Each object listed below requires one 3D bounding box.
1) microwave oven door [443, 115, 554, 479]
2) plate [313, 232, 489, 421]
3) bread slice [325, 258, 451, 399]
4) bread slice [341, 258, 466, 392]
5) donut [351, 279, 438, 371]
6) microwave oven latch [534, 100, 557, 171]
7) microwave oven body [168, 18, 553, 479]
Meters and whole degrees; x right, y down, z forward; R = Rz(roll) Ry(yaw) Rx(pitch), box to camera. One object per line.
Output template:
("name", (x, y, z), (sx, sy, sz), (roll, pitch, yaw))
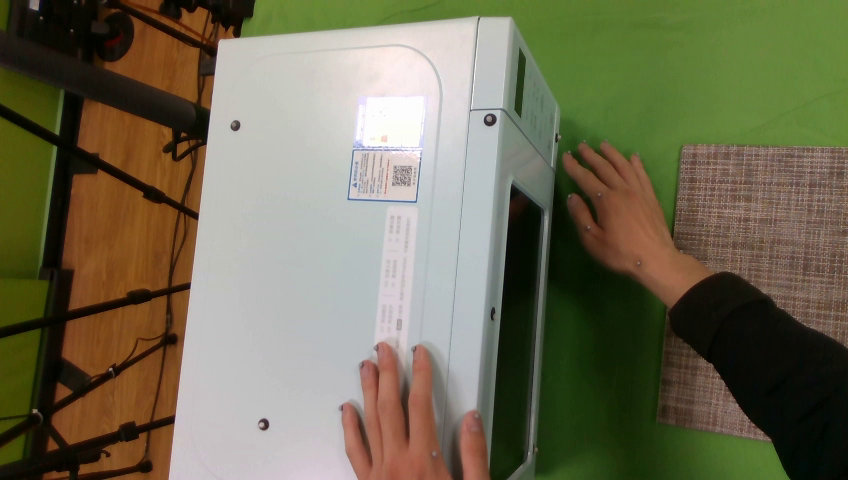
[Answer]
("microwave oven door", (0.077, 0.086, 0.583), (0.039, 0.245, 0.355), (3, 85, 23))
("plate", (-0.025, 0.096, 0.683), (0.207, 0.039, 0.207), (-2, 84, 19))
("bread slice", (-0.049, 0.087, 0.634), (0.105, 0.019, 0.130), (-40, 74, 17))
("bread slice", (-0.032, 0.087, 0.678), (0.107, 0.018, 0.133), (-45, 67, 3))
("donut", (-0.033, 0.092, 0.656), (0.099, 0.048, 0.099), (-2, 83, 16))
("microwave oven latch", (0.136, -0.120, 0.691), (0.030, 0.030, 0.079), (4, 86, 22))
("microwave oven body", (-0.053, 0.038, 0.646), (0.324, 0.262, 0.441), (3, 86, 22))
